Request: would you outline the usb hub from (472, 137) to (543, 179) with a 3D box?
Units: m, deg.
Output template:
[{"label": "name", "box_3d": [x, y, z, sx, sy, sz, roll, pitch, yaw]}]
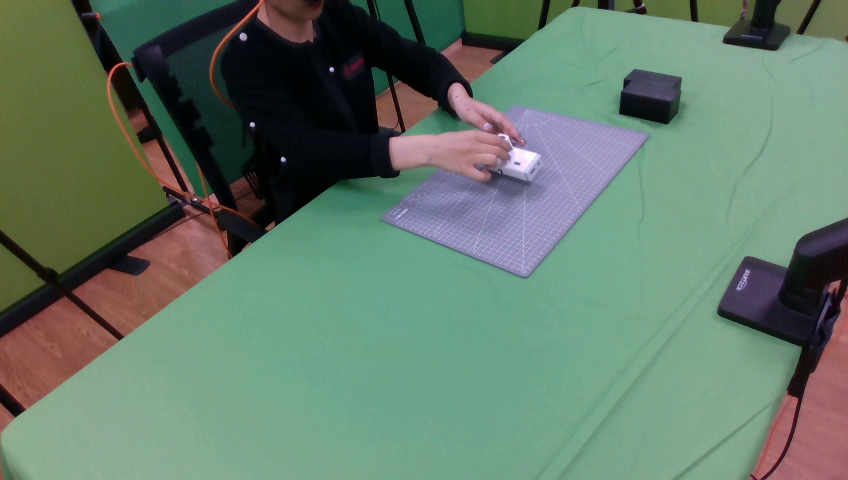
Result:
[{"label": "usb hub", "box_3d": [0.148, -0.149, 1.083, 0.124, 0.025, 0.049, 25, 70, 38]}]

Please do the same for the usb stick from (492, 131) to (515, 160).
[{"label": "usb stick", "box_3d": [0.140, -0.160, 1.056, 0.021, 0.059, 0.027, 24, 69, 37]}]
